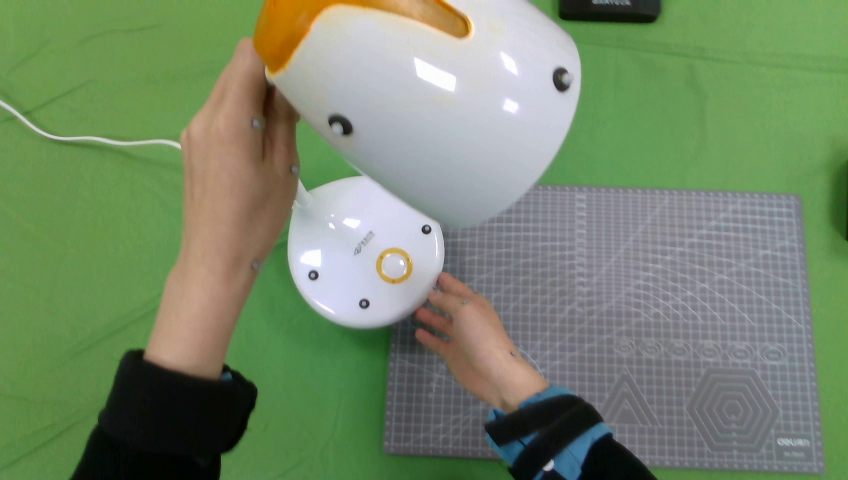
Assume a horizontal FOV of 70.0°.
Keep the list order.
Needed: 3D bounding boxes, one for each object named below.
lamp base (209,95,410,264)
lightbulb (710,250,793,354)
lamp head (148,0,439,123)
[{"bbox_3d":[-0.108,-0.070,0.540,0.179,0.181,0.160,14,82,6],"label":"lamp base"},{"bbox_3d":[0.311,0.058,0.587,0.059,0.060,0.106,-18,66,-1],"label":"lightbulb"},{"bbox_3d":[-0.070,-0.121,0.253,0.124,0.112,0.112,17,81,-32],"label":"lamp head"}]
